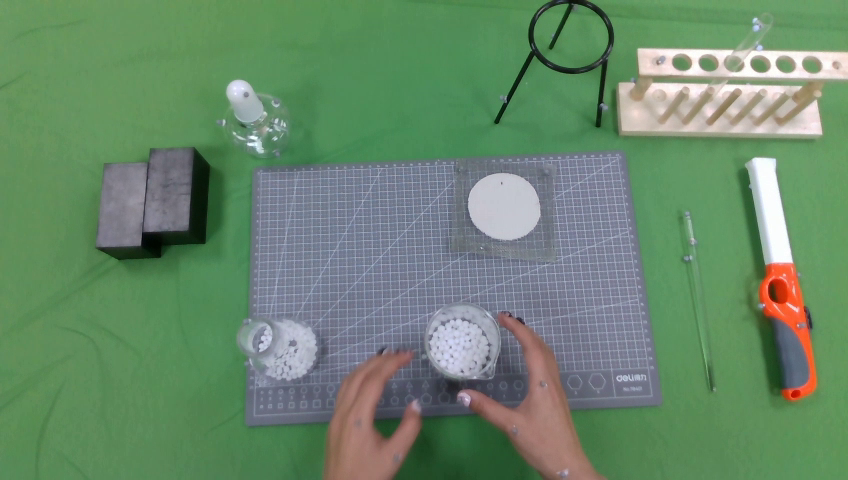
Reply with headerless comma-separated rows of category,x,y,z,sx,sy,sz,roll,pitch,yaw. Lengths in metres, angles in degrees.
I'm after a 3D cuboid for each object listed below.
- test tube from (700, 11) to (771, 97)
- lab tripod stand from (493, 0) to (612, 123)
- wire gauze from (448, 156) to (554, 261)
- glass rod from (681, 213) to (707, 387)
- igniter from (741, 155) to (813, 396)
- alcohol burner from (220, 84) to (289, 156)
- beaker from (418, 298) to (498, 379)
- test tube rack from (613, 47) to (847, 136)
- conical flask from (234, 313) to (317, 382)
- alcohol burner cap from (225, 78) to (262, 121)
test tube,0.340,-0.200,0.669,0.017,0.151,0.017,-1,74,3
lab tripod stand,0.150,-0.198,0.695,0.148,0.132,0.147,0,76,1
wire gauze,0.092,-0.040,0.714,0.125,0.011,0.121,6,74,-1
glass rod,0.306,0.065,0.687,0.008,0.008,0.198,-1,77,-1
igniter,0.398,0.034,0.686,0.057,0.025,0.275,1,74,-9
alcohol burner,-0.197,-0.143,0.690,0.078,0.119,0.077,0,75,2
beaker,0.036,0.108,0.625,0.074,0.101,0.083,-38,78,-9
test tube rack,0.357,-0.173,0.713,0.242,0.085,0.066,1,74,1
conical flask,-0.155,0.103,0.615,0.075,0.122,0.075,0,74,0
alcohol burner cap,-0.198,-0.155,0.656,0.034,0.048,0.033,0,68,0
